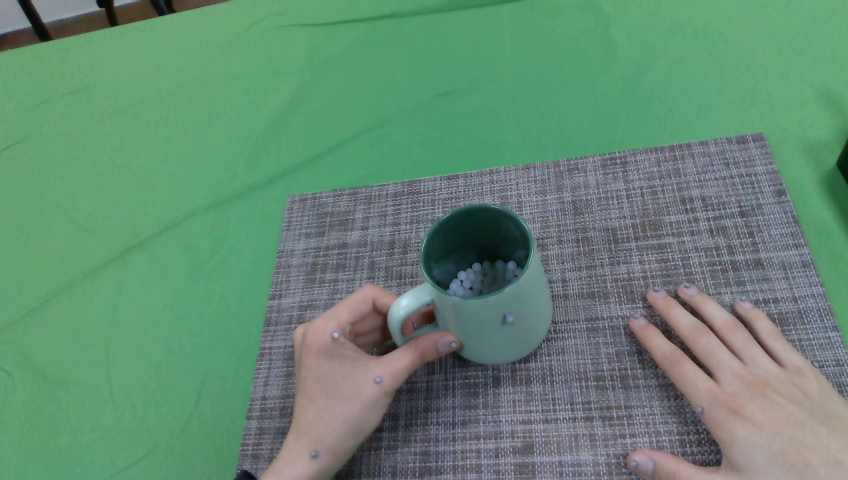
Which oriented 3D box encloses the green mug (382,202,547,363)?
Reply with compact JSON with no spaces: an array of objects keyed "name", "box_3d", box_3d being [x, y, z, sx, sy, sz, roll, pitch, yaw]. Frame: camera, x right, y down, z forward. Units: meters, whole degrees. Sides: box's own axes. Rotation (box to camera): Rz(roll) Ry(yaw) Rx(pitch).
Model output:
[{"name":"green mug","box_3d":[0.028,0.042,0.448,0.125,0.106,0.091,-29,55,-5]}]
